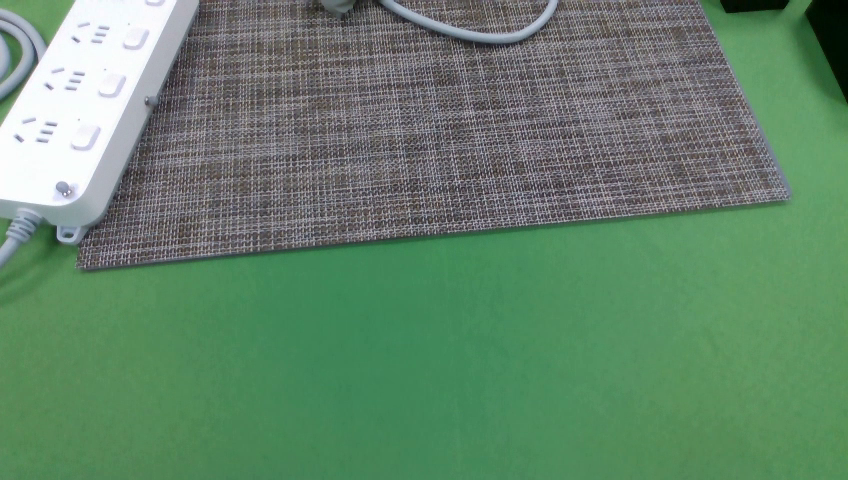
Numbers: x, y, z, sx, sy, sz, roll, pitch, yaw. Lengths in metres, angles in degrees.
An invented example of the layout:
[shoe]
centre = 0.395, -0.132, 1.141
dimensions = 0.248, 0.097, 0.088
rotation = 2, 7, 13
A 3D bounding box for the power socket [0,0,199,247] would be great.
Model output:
[power socket]
centre = -0.217, -0.103, 0.405
dimensions = 0.072, 0.033, 0.225
rotation = 8, 62, 3

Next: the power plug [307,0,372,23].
[power plug]
centre = -0.054, -0.194, 0.464
dimensions = 0.052, 0.035, 0.072
rotation = 9, 43, 32
